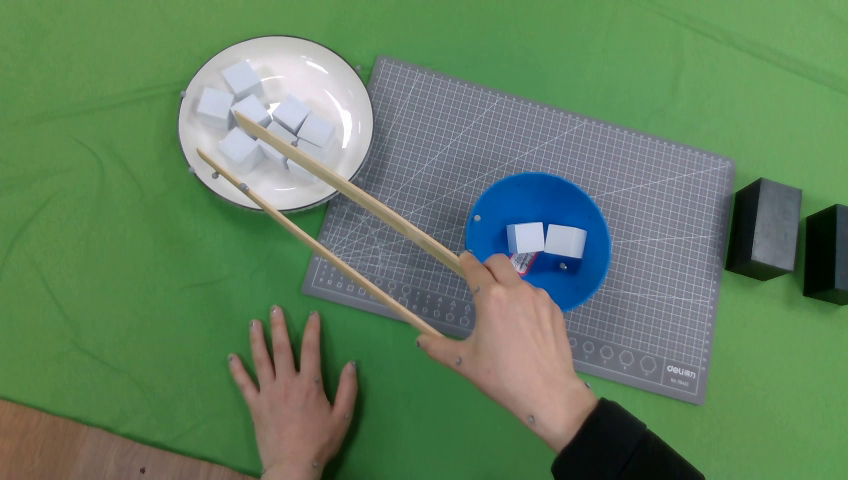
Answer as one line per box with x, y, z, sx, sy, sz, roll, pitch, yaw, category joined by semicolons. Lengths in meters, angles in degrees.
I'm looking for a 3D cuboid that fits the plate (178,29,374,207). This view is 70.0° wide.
-0.159;-0.132;0.666;0.208;0.039;0.206;1;75;-5;plate

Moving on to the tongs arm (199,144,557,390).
-0.057;0.008;0.525;0.382;0.027;0.050;37;69;21;tongs arm

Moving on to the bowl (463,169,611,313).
0.110;0.008;0.639;0.151;0.077;0.150;2;75;-6;bowl

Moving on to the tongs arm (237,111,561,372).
-0.037;-0.014;0.536;0.385;0.028;0.028;36;64;20;tongs arm
